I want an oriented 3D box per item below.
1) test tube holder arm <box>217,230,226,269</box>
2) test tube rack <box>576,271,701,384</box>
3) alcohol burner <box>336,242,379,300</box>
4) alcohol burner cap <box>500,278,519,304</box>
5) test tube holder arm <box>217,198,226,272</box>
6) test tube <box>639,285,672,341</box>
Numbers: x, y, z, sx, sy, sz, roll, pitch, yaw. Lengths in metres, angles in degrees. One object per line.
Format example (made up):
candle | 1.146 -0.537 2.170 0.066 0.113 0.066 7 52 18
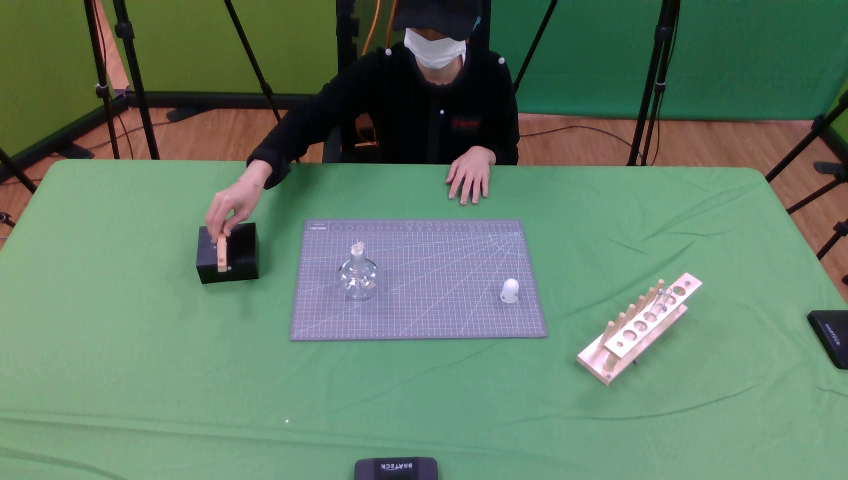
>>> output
test tube holder arm | -0.353 0.016 1.055 0.015 0.010 0.087 -1 46 -17
test tube rack | 0.373 0.138 1.047 0.242 0.085 0.066 -31 56 -29
alcohol burner | -0.118 0.050 1.072 0.078 0.120 0.077 2 44 -1
alcohol burner cap | 0.157 0.090 1.104 0.034 0.048 0.033 2 46 -2
test tube holder arm | -0.364 -0.013 1.088 0.015 0.013 0.177 -1 46 -17
test tube | 0.374 0.123 0.994 0.017 0.151 0.017 1 50 -1
